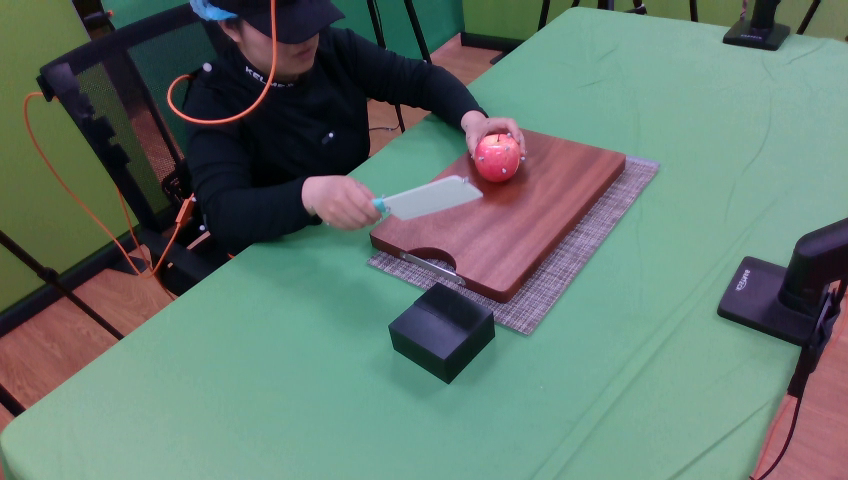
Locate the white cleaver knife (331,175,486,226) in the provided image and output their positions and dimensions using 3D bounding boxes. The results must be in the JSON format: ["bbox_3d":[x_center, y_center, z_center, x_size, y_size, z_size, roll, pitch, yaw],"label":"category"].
[{"bbox_3d":[-0.035,-0.046,0.880,0.284,0.066,0.021,-11,53,43],"label":"white cleaver knife"}]

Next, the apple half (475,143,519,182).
[{"bbox_3d":[0.123,-0.127,1.027,0.081,0.081,0.033,3,37,15],"label":"apple half"}]

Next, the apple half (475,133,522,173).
[{"bbox_3d":[0.133,-0.150,1.055,0.080,0.075,0.053,1,36,18],"label":"apple half"}]
